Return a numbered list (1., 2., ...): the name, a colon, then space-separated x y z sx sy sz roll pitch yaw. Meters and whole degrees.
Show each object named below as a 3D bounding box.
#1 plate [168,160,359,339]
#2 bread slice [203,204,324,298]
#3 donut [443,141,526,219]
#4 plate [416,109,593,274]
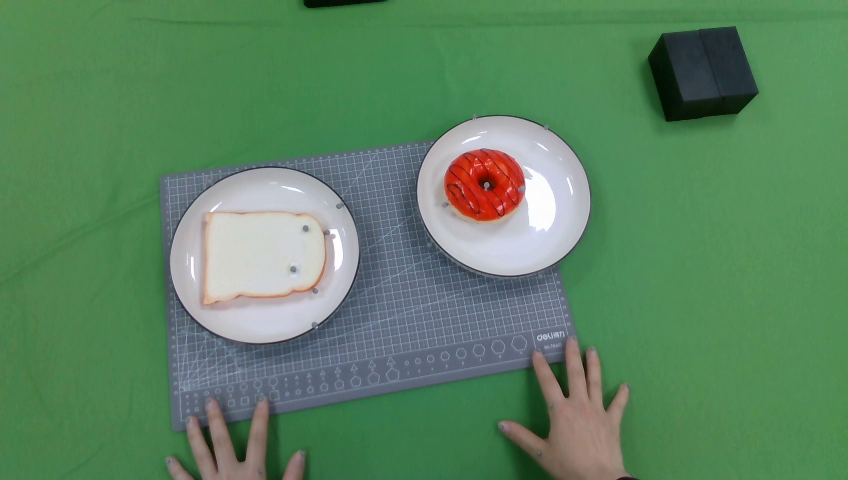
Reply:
1. plate: -0.177 0.011 0.684 0.209 0.038 0.208 1 72 -3
2. bread slice: -0.181 0.007 0.686 0.134 0.018 0.106 -6 74 -6
3. donut: 0.071 -0.072 0.713 0.099 0.048 0.098 0 68 -1
4. plate: 0.094 -0.057 0.722 0.208 0.039 0.206 1 72 -3
